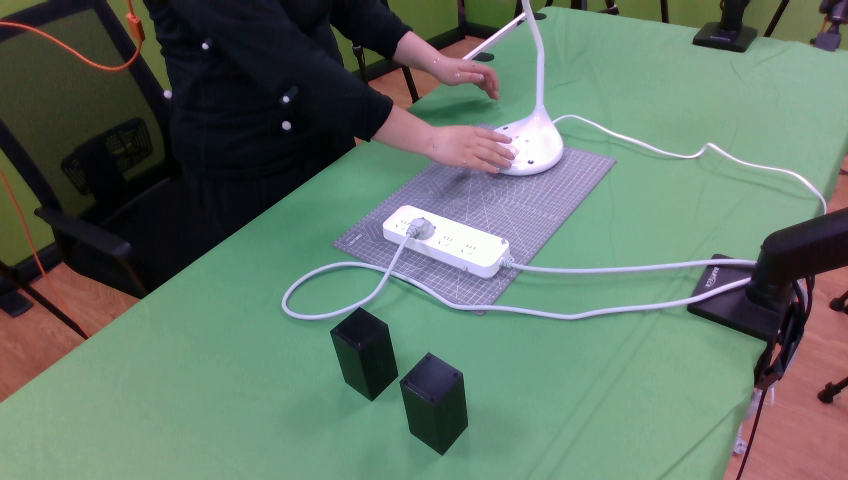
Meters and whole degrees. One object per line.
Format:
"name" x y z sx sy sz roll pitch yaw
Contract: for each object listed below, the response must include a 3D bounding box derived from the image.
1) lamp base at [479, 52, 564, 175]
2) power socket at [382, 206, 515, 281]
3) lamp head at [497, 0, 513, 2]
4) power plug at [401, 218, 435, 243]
"lamp base" 0.181 -0.236 1.095 0.159 0.181 0.179 20 44 28
"power socket" 0.032 0.002 0.950 0.225 0.033 0.072 21 49 29
"lamp head" 0.120 -0.420 0.861 0.111 0.113 0.123 24 72 32
"power plug" -0.015 -0.006 0.937 0.073 0.053 0.035 -37 47 -26
